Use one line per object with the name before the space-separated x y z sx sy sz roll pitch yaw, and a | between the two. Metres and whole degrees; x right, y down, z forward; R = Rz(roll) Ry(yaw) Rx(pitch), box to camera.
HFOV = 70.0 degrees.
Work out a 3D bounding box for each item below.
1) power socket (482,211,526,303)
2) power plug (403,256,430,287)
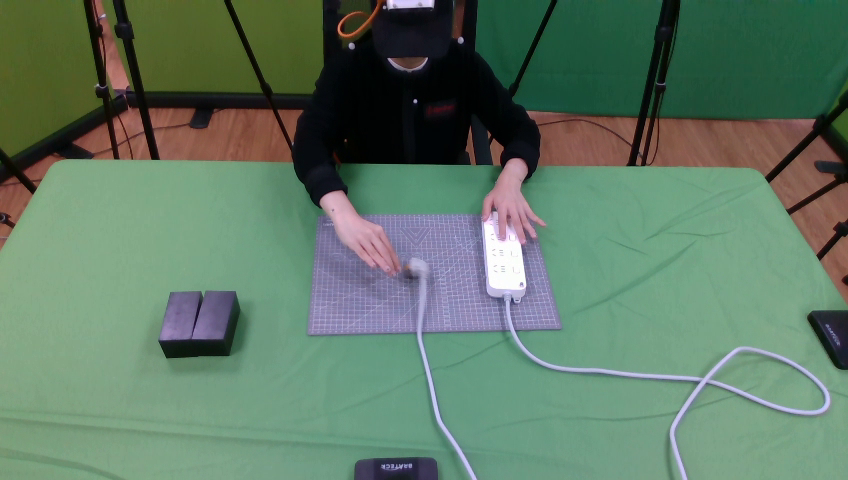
power socket | 0.153 0.025 1.174 0.072 0.033 0.225 2 46 -1
power plug | -0.018 0.058 1.118 0.052 0.035 0.072 -10 22 19
